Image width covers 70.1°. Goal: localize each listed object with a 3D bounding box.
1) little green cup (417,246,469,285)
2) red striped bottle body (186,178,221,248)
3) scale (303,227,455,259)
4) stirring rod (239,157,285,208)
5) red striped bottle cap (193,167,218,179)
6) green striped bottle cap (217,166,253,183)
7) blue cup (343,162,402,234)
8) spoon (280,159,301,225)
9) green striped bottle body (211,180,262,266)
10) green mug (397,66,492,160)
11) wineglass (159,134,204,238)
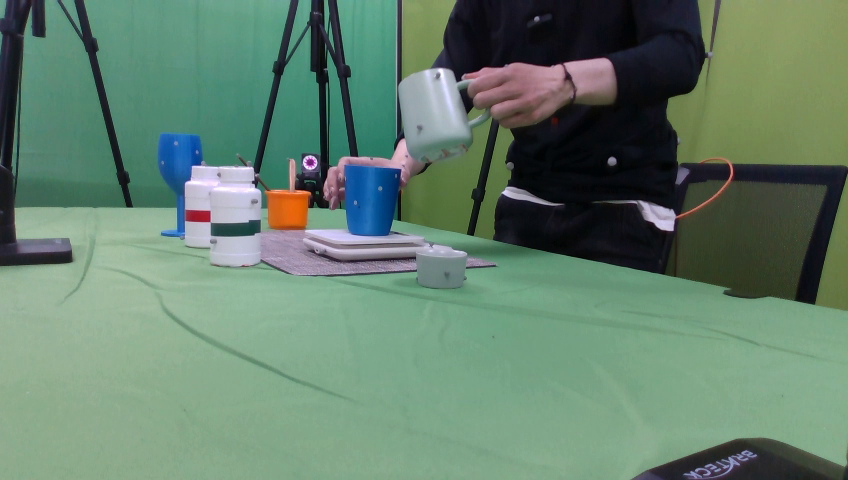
[{"bbox_3d":[0.021,0.029,0.701,0.061,0.038,0.061,2,5,0],"label":"little green cup"},{"bbox_3d":[-0.331,-0.050,0.927,0.063,0.119,0.063,2,6,0],"label":"red striped bottle body"},{"bbox_3d":[-0.066,0.001,0.906,0.202,0.031,0.148,-2,8,-31],"label":"scale"},{"bbox_3d":[-0.309,-0.098,1.209,0.006,0.177,0.014,-38,29,-2],"label":"stirring rod"},{"bbox_3d":[-0.329,-0.103,0.921,0.044,0.017,0.044,-1,9,0],"label":"red striped bottle cap"},{"bbox_3d":[-0.242,-0.085,0.776,0.044,0.020,0.044,2,8,0],"label":"green striped bottle cap"},{"bbox_3d":[-0.077,-0.062,0.883,0.093,0.100,0.092,3,6,0],"label":"blue cup"},{"bbox_3d":[-0.273,-0.102,1.252,0.042,0.193,0.021,7,-38,-17],"label":"spoon"},{"bbox_3d":[-0.243,-0.029,0.784,0.063,0.119,0.063,2,7,0],"label":"green striped bottle body"},{"bbox_3d":[0.029,-0.173,0.809,0.125,0.105,0.093,-16,-7,14],"label":"green mug"},{"bbox_3d":[-0.415,-0.093,1.040,0.074,0.172,0.073,2,7,0],"label":"wineglass"}]
